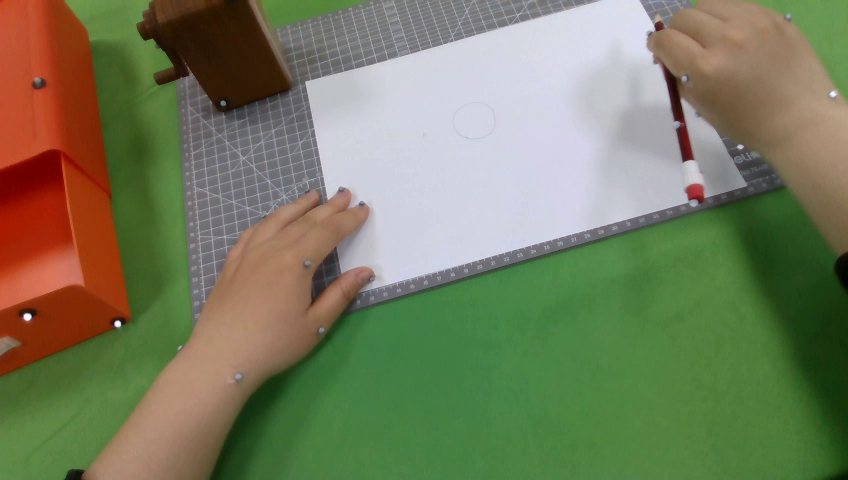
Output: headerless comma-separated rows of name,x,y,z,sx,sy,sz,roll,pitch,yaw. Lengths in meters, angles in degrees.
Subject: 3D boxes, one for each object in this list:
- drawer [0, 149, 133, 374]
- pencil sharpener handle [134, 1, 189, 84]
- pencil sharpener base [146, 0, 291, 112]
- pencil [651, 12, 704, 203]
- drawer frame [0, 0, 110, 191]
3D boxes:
drawer,-0.342,-0.001,0.455,0.194,0.074,0.209,-23,62,-3
pencil sharpener handle,-0.214,-0.153,0.481,0.030,0.068,0.035,-21,59,-2
pencil sharpener base,-0.165,-0.167,0.494,0.077,0.108,0.061,-21,62,-2
pencil,0.168,-0.100,0.410,0.012,0.012,0.192,0,52,9
drawer frame,-0.386,-0.096,0.507,0.202,0.083,0.211,-23,62,-3
